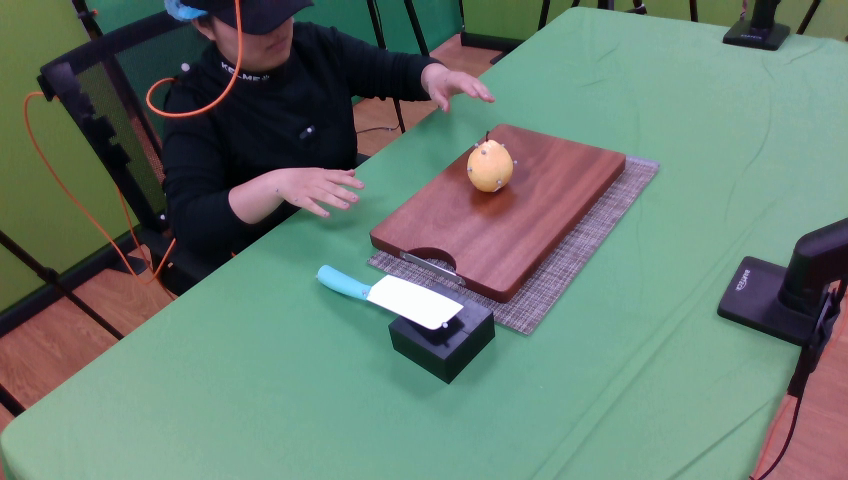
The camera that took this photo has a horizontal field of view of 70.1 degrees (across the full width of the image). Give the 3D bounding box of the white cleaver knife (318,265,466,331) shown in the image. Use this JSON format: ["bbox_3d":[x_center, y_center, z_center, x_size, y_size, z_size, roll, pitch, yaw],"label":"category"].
[{"bbox_3d":[-0.056,0.075,0.871,0.284,0.021,0.066,17,42,43],"label":"white cleaver knife"}]

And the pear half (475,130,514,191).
[{"bbox_3d":[0.119,-0.142,1.020,0.076,0.110,0.056,26,52,30],"label":"pear half"}]

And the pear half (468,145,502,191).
[{"bbox_3d":[0.097,-0.116,1.007,0.070,0.088,0.031,27,52,26],"label":"pear half"}]
